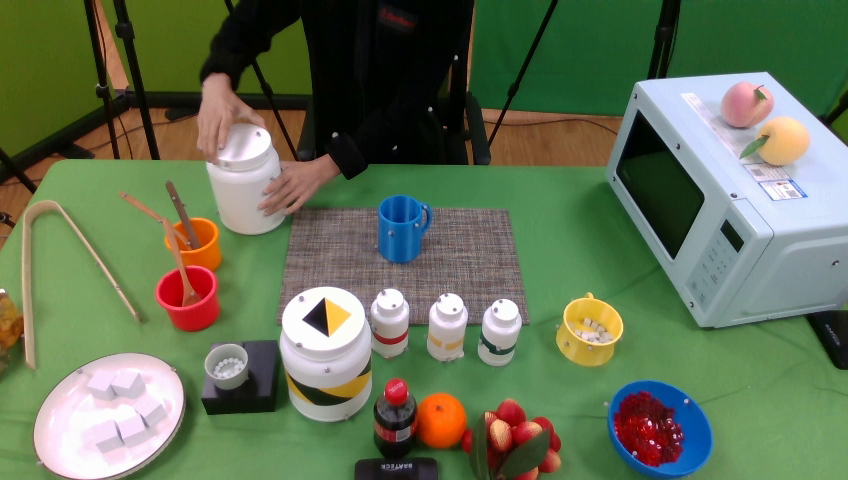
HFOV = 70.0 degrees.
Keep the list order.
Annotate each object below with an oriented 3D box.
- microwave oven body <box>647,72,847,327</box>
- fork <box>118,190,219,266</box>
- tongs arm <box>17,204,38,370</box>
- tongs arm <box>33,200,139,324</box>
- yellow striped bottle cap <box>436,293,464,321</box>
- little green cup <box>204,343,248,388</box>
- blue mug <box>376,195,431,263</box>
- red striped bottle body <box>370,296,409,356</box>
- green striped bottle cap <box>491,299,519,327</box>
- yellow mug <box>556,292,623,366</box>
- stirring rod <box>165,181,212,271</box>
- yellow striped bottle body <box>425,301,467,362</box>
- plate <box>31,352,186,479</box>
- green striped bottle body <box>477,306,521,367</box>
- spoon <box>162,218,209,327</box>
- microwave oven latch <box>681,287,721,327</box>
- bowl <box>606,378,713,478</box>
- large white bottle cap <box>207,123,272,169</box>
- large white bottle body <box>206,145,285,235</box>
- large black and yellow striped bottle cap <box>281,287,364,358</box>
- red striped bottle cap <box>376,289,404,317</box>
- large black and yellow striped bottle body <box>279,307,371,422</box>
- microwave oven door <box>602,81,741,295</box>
[{"bbox_3d":[0.607,-0.089,1.164,0.326,0.261,0.438,-7,46,-10],"label":"microwave oven body"},{"bbox_3d":[-0.459,-0.020,1.092,0.208,0.018,0.028,44,44,-24],"label":"fork"},{"bbox_3d":[-0.698,0.070,1.068,0.028,0.028,0.385,-20,50,-13],"label":"tongs arm"},{"bbox_3d":[-0.622,0.034,1.105,0.051,0.026,0.382,-32,56,-26],"label":"tongs arm"},{"bbox_3d":[0.041,0.106,0.959,0.044,0.019,0.044,0,50,1],"label":"yellow striped bottle cap"},{"bbox_3d":[-0.294,0.190,0.909,0.061,0.039,0.061,1,48,-1],"label":"little green cup"},{"bbox_3d":[-0.035,-0.027,1.159,0.116,0.106,0.082,-24,53,-25],"label":"blue mug"},{"bbox_3d":[-0.058,0.134,0.997,0.063,0.120,0.062,4,47,-4],"label":"red striped bottle body"},{"bbox_3d":[0.128,0.115,0.958,0.044,0.020,0.044,1,46,-1],"label":"green striped bottle cap"},{"bbox_3d":[0.285,0.145,1.051,0.100,0.064,0.130,7,45,3],"label":"yellow mug"},{"bbox_3d":[-0.430,-0.025,1.107,0.014,0.006,0.176,-25,94,-20],"label":"stirring rod"},{"bbox_3d":[0.037,0.142,0.996,0.063,0.121,0.062,3,47,-2],"label":"yellow striped bottle body"},{"bbox_3d":[-0.459,0.262,0.898,0.209,0.038,0.208,2,46,-2],"label":"plate"},{"bbox_3d":[0.124,0.151,0.995,0.063,0.120,0.063,2,46,-2],"label":"green striped bottle body"},{"bbox_3d":[-0.410,0.054,1.029,0.041,0.021,0.194,-17,94,-15],"label":"spoon"},{"bbox_3d":[0.494,0.119,1.087,0.030,0.029,0.078,-6,46,-9],"label":"microwave oven latch"},{"bbox_3d":[0.340,0.292,0.906,0.151,0.077,0.150,2,46,-2],"label":"bowl"},{"bbox_3d":[-0.337,-0.174,1.107,0.115,0.018,0.114,3,47,-3],"label":"large white bottle cap"},{"bbox_3d":[-0.343,-0.115,1.168,0.131,0.185,0.130,3,46,-2],"label":"large white bottle body"},{"bbox_3d":[-0.141,0.112,0.847,0.115,0.019,0.114,5,45,-4],"label":"large black and yellow striped bottle cap"},{"bbox_3d":[-0.055,0.098,0.959,0.044,0.018,0.044,0,48,0],"label":"red striped bottle cap"},{"bbox_3d":[-0.145,0.173,0.907,0.131,0.185,0.130,2,46,-2],"label":"large black and yellow striped bottle body"},{"bbox_3d":[0.456,-0.107,1.162,0.039,0.245,0.353,-6,47,-11],"label":"microwave oven door"}]
